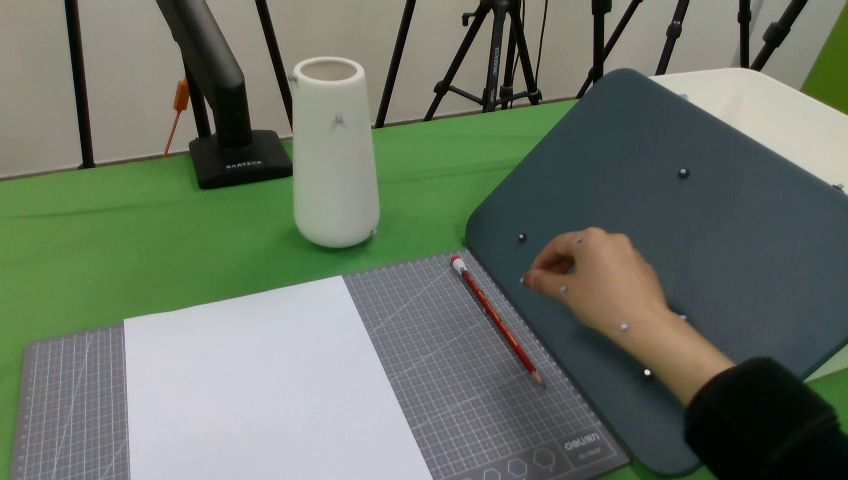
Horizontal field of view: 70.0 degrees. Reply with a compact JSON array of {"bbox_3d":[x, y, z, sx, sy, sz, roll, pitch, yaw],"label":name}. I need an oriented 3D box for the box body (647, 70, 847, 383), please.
[{"bbox_3d":[0.362,-0.036,0.661,0.255,0.162,0.359,-12,40,-19],"label":"box body"}]

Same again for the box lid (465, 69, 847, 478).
[{"bbox_3d":[0.202,0.002,0.569,0.015,0.263,0.367,33,15,-42],"label":"box lid"}]

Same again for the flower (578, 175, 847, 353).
[{"bbox_3d":[0.325,0.025,0.693,0.358,0.038,0.044,39,12,30],"label":"flower"}]

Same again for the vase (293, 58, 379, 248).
[{"bbox_3d":[-0.099,-0.089,0.657,0.098,0.201,0.097,2,37,-1],"label":"vase"}]

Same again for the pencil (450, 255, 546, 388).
[{"bbox_3d":[0.070,0.076,0.607,0.012,0.012,0.191,-13,41,-20],"label":"pencil"}]
